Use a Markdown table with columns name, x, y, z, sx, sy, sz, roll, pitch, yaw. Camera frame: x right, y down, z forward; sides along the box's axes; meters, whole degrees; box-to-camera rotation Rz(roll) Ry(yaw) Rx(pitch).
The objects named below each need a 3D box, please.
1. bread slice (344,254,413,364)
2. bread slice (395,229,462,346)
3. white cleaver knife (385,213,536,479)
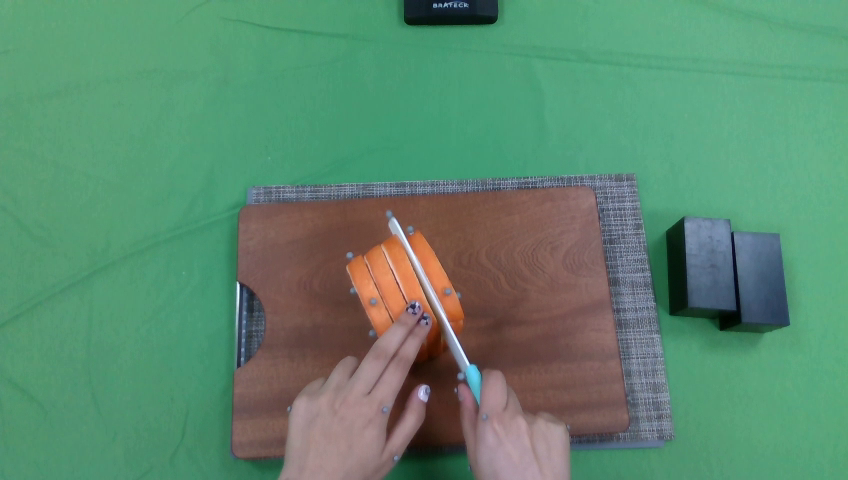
| name | x | y | z | sx | sy | sz | roll | pitch | yaw |
| --- | --- | --- | --- | --- | --- | --- | --- | --- | --- |
| bread slice | -0.045 | 0.066 | 0.579 | 0.019 | 0.132 | 0.104 | -27 | 74 | -3 |
| bread slice | 0.003 | 0.048 | 0.584 | 0.018 | 0.135 | 0.106 | -26 | 79 | -13 |
| white cleaver knife | 0.032 | 0.103 | 0.544 | 0.021 | 0.066 | 0.285 | -25 | 82 | -7 |
